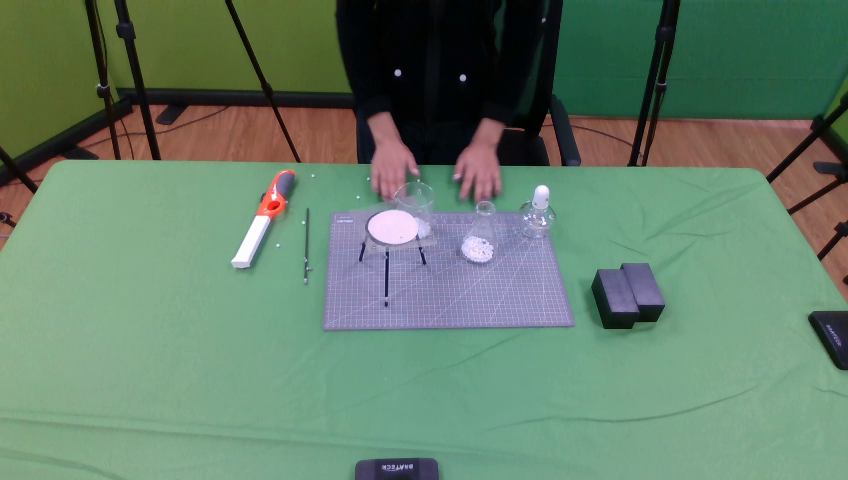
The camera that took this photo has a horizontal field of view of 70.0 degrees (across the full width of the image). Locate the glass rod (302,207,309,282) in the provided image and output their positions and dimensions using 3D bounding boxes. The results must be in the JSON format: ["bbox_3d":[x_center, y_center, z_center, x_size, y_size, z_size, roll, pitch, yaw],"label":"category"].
[{"bbox_3d":[-0.231,0.004,1.187,0.008,0.008,0.198,-2,47,-6],"label":"glass rod"}]

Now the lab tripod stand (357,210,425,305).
[{"bbox_3d":[-0.060,0.020,1.094,0.148,0.132,0.147,3,44,-2],"label":"lab tripod stand"}]

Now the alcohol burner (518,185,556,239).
[{"bbox_3d":[0.227,-0.061,1.209,0.078,0.120,0.077,1,44,-1],"label":"alcohol burner"}]

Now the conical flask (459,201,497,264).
[{"bbox_3d":[0.109,-0.018,1.153,0.075,0.122,0.075,2,46,-2],"label":"conical flask"}]

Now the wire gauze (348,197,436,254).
[{"bbox_3d":[-0.056,-0.026,1.045,0.125,0.011,0.120,-12,46,-17],"label":"wire gauze"}]

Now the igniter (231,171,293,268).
[{"bbox_3d":[-0.321,-0.051,1.220,0.057,0.025,0.275,1,45,11],"label":"igniter"}]

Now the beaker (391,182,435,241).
[{"bbox_3d":[-0.023,-0.053,1.192,0.084,0.101,0.073,-2,46,-5],"label":"beaker"}]

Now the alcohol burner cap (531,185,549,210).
[{"bbox_3d":[0.228,-0.085,1.183,0.034,0.048,0.033,-1,48,2],"label":"alcohol burner cap"}]
